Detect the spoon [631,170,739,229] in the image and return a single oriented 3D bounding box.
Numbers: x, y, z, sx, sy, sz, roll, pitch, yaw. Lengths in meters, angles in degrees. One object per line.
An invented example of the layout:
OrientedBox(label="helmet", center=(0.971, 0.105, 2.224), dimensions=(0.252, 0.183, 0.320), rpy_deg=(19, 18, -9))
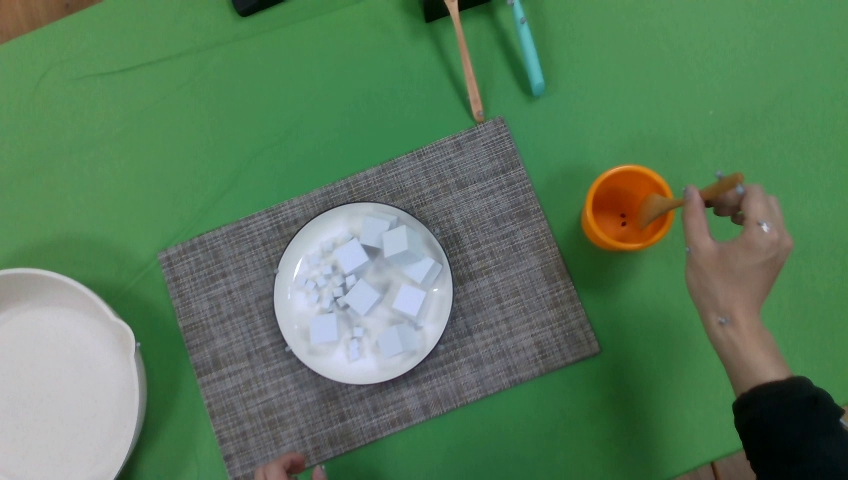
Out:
OrientedBox(label="spoon", center=(0.237, -0.040, 0.564), dimensions=(0.022, 0.194, 0.041), rpy_deg=(18, 82, -5))

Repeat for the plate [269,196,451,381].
OrientedBox(label="plate", center=(-0.072, 0.055, 0.696), dimensions=(0.207, 0.039, 0.207), rpy_deg=(0, 83, 3))

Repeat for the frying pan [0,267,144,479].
OrientedBox(label="frying pan", center=(-0.405, 0.265, 0.660), dimensions=(0.307, 0.103, 0.484), rpy_deg=(-29, 74, 0))

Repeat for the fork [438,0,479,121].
OrientedBox(label="fork", center=(0.035, -0.241, 0.708), dimensions=(0.028, 0.018, 0.208), rpy_deg=(-17, 101, -5))

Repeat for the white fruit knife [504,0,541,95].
OrientedBox(label="white fruit knife", center=(0.100, -0.272, 0.707), dimensions=(0.016, 0.027, 0.208), rpy_deg=(-19, 97, -1))
